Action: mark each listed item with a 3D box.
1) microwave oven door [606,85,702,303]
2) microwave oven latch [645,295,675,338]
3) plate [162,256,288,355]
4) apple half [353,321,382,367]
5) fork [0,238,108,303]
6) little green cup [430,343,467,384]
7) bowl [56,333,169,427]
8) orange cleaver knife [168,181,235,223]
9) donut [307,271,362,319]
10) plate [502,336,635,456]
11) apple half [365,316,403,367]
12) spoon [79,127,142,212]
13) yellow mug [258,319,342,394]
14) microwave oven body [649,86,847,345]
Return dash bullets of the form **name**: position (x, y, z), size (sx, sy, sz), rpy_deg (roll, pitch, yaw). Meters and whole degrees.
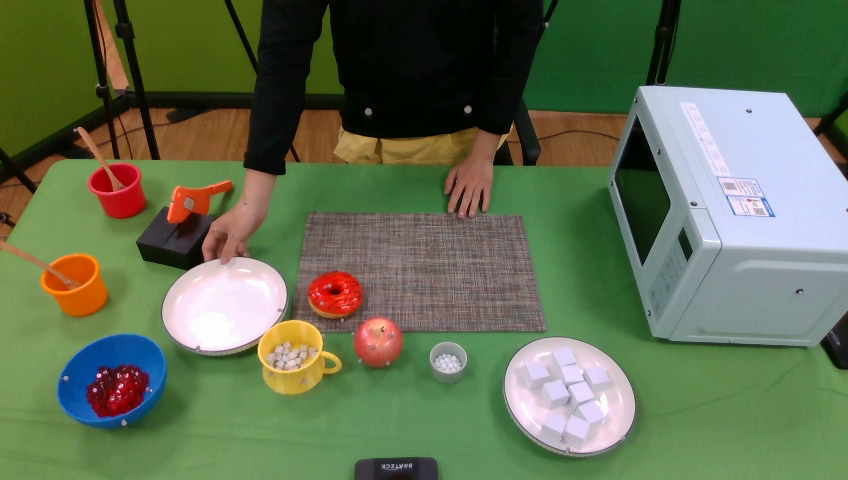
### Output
- **microwave oven door**: position (0.423, -0.094, 1.140), size (0.039, 0.245, 0.353), rpy_deg (2, 46, -1)
- **microwave oven latch**: position (0.412, 0.134, 1.061), size (0.030, 0.029, 0.078), rpy_deg (3, 45, 0)
- **plate**: position (-0.341, 0.115, 1.051), size (0.209, 0.038, 0.208), rpy_deg (3, 46, -2)
- **apple half**: position (-0.098, 0.177, 0.984), size (0.033, 0.081, 0.081), rpy_deg (-17, 49, -25)
- **fork**: position (-0.633, 0.048, 1.017), size (0.208, 0.018, 0.028), rpy_deg (40, 41, -27)
- **little green cup**: position (0.039, 0.203, 0.994), size (0.061, 0.039, 0.061), rpy_deg (2, 46, -2)
- **bowl**: position (-0.456, 0.222, 0.912), size (0.151, 0.077, 0.150), rpy_deg (3, 45, -2)
- **orange cleaver knife**: position (-0.436, -0.077, 1.196), size (0.012, 0.077, 0.211), rpy_deg (16, 15, 10)
- **donut**: position (-0.157, 0.097, 1.072), size (0.099, 0.048, 0.098), rpy_deg (3, 45, -3)
- **plate**: position (0.225, 0.248, 0.963), size (0.208, 0.039, 0.206), rpy_deg (2, 46, -2)
- **apple half**: position (-0.063, 0.165, 1.000), size (0.053, 0.075, 0.080), rpy_deg (-16, 45, -24)
- **spoon**: position (-0.624, -0.140, 1.203), size (0.041, 0.021, 0.194), rpy_deg (-33, 100, -26)
- **yellow mug**: position (-0.196, 0.189, 0.972), size (0.131, 0.064, 0.099), rpy_deg (9, 46, 3)
- **microwave oven body**: position (0.567, -0.053, 1.118), size (0.326, 0.261, 0.439), rpy_deg (2, 45, -1)
